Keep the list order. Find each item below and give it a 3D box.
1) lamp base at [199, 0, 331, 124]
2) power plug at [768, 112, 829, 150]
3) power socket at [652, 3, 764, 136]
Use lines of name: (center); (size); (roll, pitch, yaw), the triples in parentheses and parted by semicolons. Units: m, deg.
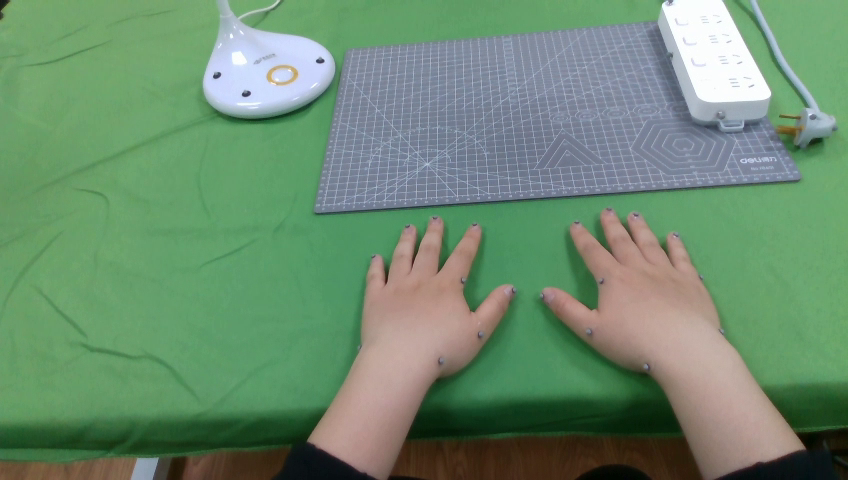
lamp base: (-0.212, -0.250, 0.690); (0.177, 0.182, 0.160); (27, 56, 32)
power plug: (0.357, -0.106, 0.585); (0.052, 0.035, 0.072); (10, 14, 13)
power socket: (0.302, -0.195, 0.659); (0.072, 0.033, 0.224); (-1, 47, 7)
